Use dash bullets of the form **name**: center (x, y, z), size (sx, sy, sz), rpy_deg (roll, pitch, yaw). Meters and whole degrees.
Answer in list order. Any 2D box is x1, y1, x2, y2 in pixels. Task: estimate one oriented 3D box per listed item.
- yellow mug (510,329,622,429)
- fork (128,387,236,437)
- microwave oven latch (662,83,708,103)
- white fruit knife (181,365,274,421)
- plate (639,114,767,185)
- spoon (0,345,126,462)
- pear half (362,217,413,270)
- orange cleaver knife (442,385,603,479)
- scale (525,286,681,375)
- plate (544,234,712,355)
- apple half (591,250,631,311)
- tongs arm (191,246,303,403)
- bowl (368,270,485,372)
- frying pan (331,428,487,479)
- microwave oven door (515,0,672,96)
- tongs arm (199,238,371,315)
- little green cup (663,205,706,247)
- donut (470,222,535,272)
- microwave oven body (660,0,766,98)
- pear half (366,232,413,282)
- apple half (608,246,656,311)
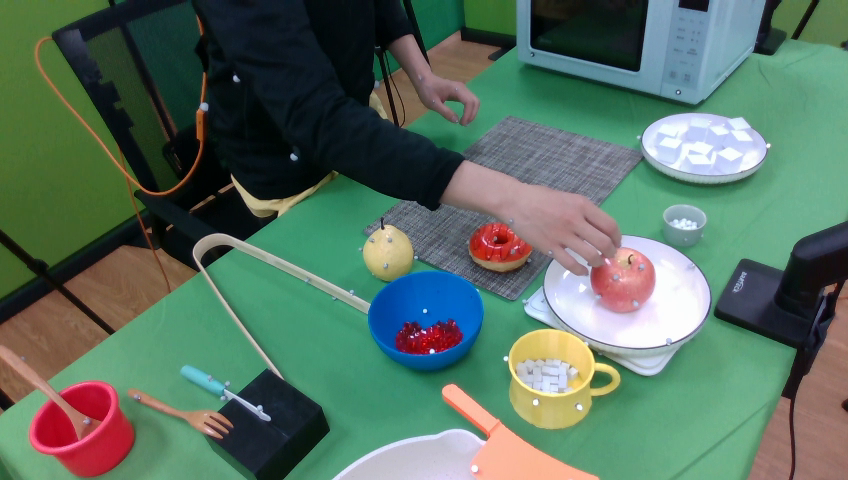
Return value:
- **yellow mug**: center (0.168, 0.164, 0.721), size (0.130, 0.064, 0.099), rpy_deg (0, 40, 8)
- **fork**: center (-0.305, 0.207, 0.744), size (0.206, 0.019, 0.028), rpy_deg (3, 40, 36)
- **microwave oven latch**: center (0.517, -0.296, 1.204), size (0.078, 0.029, 0.030), rpy_deg (27, 52, 35)
- **white fruit knife**: center (-0.245, 0.188, 0.747), size (0.205, 0.027, 0.016), rpy_deg (9, 41, 41)
- **plate**: center (0.489, -0.157, 1.074), size (0.207, 0.039, 0.206), rpy_deg (-4, 40, 4)
- **spoon**: center (-0.434, 0.192, 0.720), size (0.194, 0.021, 0.042), rpy_deg (47, 53, -6)
- **pear half**: center (-0.059, 0.002, 0.913), size (0.076, 0.110, 0.055), rpy_deg (-14, 40, -13)
- **orange cleaver knife**: center (0.086, 0.219, 0.612), size (0.209, 0.012, 0.077), rpy_deg (28, 49, 35)
- **scale**: center (0.254, 0.092, 0.821), size (0.199, 0.032, 0.149), rpy_deg (27, 51, 35)
- **plate**: center (0.262, 0.072, 0.792), size (0.209, 0.038, 0.208), rpy_deg (-4, 41, 4)
- **apple half**: center (0.231, 0.057, 0.772), size (0.033, 0.081, 0.080), rpy_deg (-11, 40, -7)
- **tongs arm**: center (-0.268, 0.111, 0.881), size (0.028, 0.028, 0.384), rpy_deg (-36, 46, -19)
- **bowl**: center (0.007, 0.119, 0.791), size (0.151, 0.077, 0.150), rpy_deg (-5, 40, 4)
- **frying pan**: center (-0.089, 0.306, 0.564), size (0.487, 0.103, 0.306), rpy_deg (9, 41, 7)
- **microwave oven door**: center (0.343, -0.455, 1.259), size (0.353, 0.245, 0.039), rpy_deg (26, 51, 33)
- **tongs arm**: center (-0.209, 0.064, 0.924), size (0.381, 0.026, 0.051), rpy_deg (22, 52, 32)
- **little green cup**: center (0.396, -0.020, 0.926), size (0.061, 0.039, 0.061), rpy_deg (-4, 40, 4)
- **donut**: center (0.119, 0.009, 0.923), size (0.099, 0.048, 0.098), rpy_deg (-3, 38, 3)
- **microwave oven body**: center (0.472, -0.513, 1.317), size (0.438, 0.261, 0.327), rpy_deg (26, 51, 34)
- **pear half**: center (-0.048, 0.031, 0.893), size (0.071, 0.088, 0.031), rpy_deg (-16, 40, -13)
- **apple half**: center (0.269, 0.049, 0.777), size (0.053, 0.075, 0.080), rpy_deg (-9, 38, -6)
